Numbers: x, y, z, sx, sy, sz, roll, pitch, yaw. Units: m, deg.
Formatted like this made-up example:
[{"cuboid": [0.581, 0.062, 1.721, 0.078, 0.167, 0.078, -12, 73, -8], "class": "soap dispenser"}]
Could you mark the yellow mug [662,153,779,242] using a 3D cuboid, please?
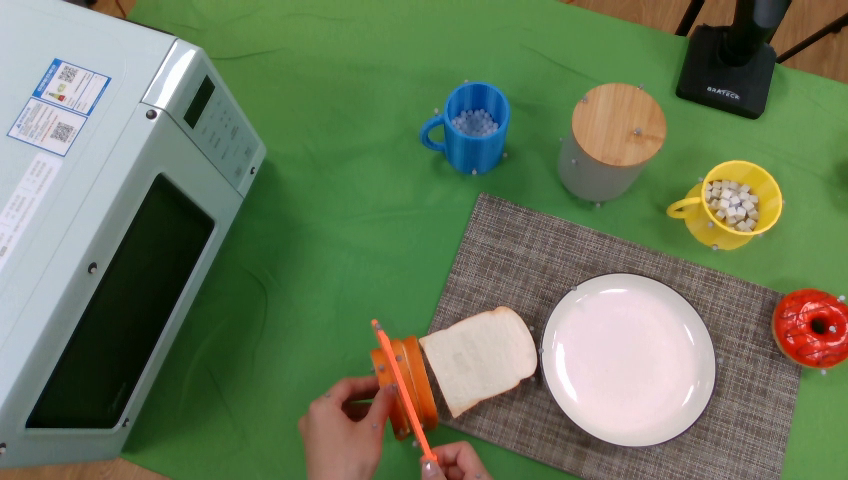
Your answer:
[{"cuboid": [0.375, -0.052, 0.779, 0.131, 0.064, 0.099, -4, 74, 1], "class": "yellow mug"}]

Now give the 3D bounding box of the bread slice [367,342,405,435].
[{"cuboid": [-0.044, 0.166, 0.695, 0.018, 0.135, 0.106, -16, 72, -9], "class": "bread slice"}]

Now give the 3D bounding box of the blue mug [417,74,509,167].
[{"cuboid": [0.048, -0.152, 0.795, 0.116, 0.106, 0.082, -6, 73, 0], "class": "blue mug"}]

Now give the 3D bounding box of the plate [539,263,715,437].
[{"cuboid": [0.243, 0.133, 0.741, 0.207, 0.039, 0.206, 0, 74, 2], "class": "plate"}]

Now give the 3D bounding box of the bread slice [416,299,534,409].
[{"cuboid": [0.070, 0.136, 0.749, 0.131, 0.019, 0.104, -23, 74, -1], "class": "bread slice"}]

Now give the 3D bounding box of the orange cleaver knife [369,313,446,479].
[{"cuboid": [-0.011, 0.169, 0.584, 0.012, 0.077, 0.211, -22, 91, -12], "class": "orange cleaver knife"}]

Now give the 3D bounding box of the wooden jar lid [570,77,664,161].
[{"cuboid": [0.224, -0.140, 0.711, 0.108, 0.021, 0.107, 0, 72, 1], "class": "wooden jar lid"}]

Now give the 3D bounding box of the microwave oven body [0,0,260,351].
[{"cuboid": [-0.445, -0.029, 0.689, 0.325, 0.261, 0.440, 20, 76, 7], "class": "microwave oven body"}]

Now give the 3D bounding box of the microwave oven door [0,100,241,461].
[{"cuboid": [-0.325, 0.056, 0.656, 0.039, 0.245, 0.354, 19, 75, 7], "class": "microwave oven door"}]

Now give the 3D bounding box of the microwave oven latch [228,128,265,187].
[{"cuboid": [-0.240, -0.113, 0.807, 0.030, 0.029, 0.079, 23, 77, 7], "class": "microwave oven latch"}]

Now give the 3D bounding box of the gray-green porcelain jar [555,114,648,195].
[{"cuboid": [0.226, -0.122, 0.771, 0.106, 0.127, 0.105, 0, 74, 2], "class": "gray-green porcelain jar"}]

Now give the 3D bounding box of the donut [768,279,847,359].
[{"cuboid": [0.473, 0.097, 0.741, 0.099, 0.048, 0.098, 0, 75, 2], "class": "donut"}]
